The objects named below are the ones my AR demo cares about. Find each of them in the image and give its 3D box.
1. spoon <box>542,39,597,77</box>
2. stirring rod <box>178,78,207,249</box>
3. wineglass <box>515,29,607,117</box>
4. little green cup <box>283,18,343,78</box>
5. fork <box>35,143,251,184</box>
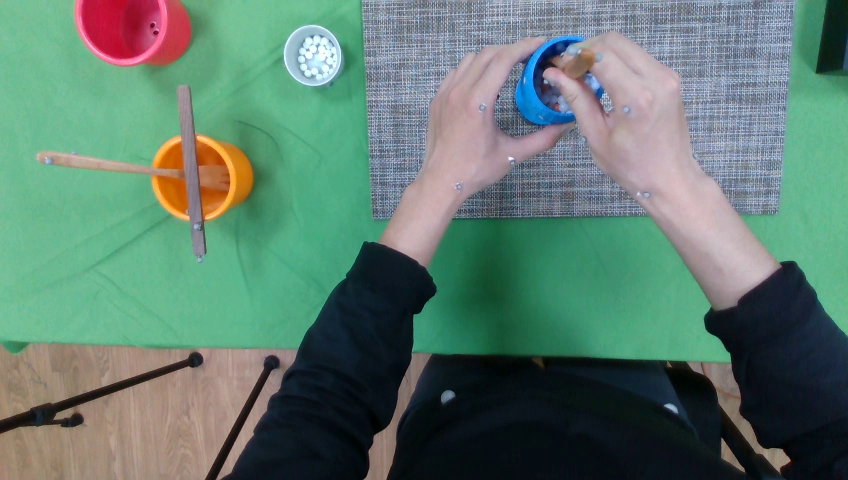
[{"bbox_3d":[0.112,-0.135,0.456,0.041,0.193,0.022,30,108,-1],"label":"spoon"},{"bbox_3d":[-0.240,-0.077,0.627,0.014,0.006,0.176,-1,100,5],"label":"stirring rod"},{"bbox_3d":[0.123,-0.151,0.572,0.073,0.172,0.074,1,100,5],"label":"wineglass"},{"bbox_3d":[-0.116,-0.204,0.652,0.061,0.038,0.062,1,101,5],"label":"little green cup"},{"bbox_3d":[-0.283,-0.080,0.632,0.209,0.018,0.028,3,112,-40],"label":"fork"}]
